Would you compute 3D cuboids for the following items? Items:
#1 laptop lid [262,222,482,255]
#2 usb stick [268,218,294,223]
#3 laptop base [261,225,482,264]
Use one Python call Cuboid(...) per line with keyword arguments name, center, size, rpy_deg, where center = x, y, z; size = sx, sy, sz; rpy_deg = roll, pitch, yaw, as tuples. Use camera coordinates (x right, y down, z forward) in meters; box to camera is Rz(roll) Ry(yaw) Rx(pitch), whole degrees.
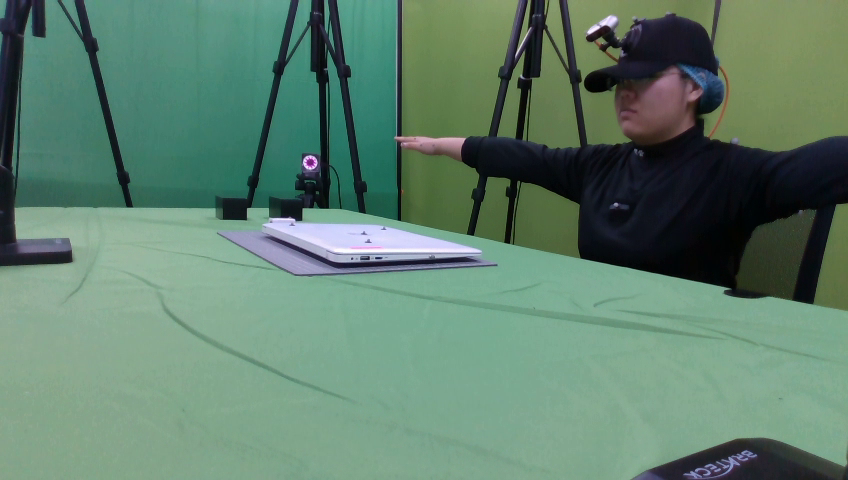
Cuboid(name="laptop lid", center=(-0.098, -0.005, 0.964), size=(0.243, 0.013, 0.355), rpy_deg=(1, 7, -29))
Cuboid(name="usb stick", center=(-0.272, -0.027, 1.119), size=(0.059, 0.027, 0.021), rpy_deg=(-7, 11, -34))
Cuboid(name="laptop base", center=(-0.100, 0.006, 0.965), size=(0.237, 0.023, 0.352), rpy_deg=(2, 6, -31))
